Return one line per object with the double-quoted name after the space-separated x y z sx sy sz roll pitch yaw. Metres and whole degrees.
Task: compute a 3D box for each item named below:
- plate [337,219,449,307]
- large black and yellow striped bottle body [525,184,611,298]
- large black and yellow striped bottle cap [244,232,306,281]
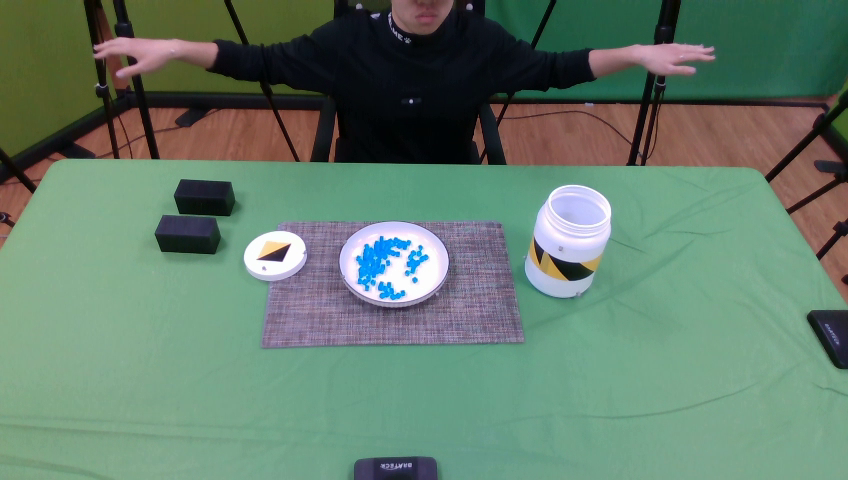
-0.057 0.045 1.132 0.208 0.039 0.206 2 46 -2 "plate"
0.262 0.002 1.101 0.131 0.185 0.130 2 46 -2 "large black and yellow striped bottle body"
-0.282 0.030 1.146 0.115 0.019 0.114 -1 45 1 "large black and yellow striped bottle cap"
